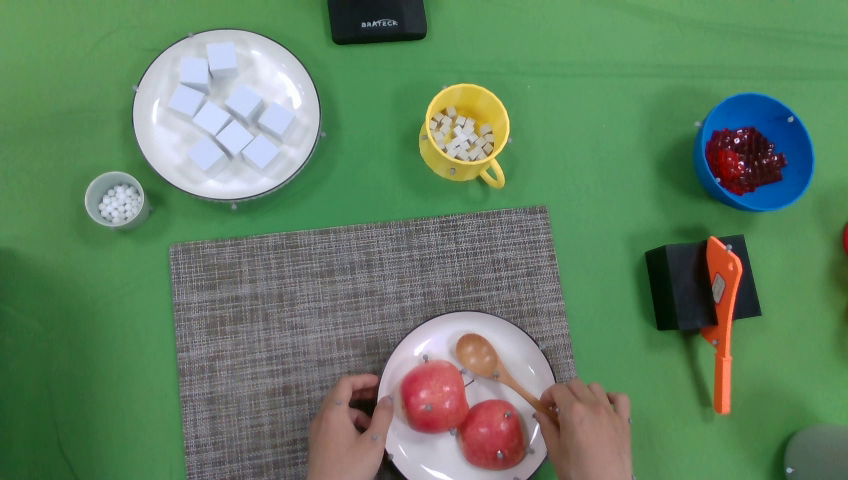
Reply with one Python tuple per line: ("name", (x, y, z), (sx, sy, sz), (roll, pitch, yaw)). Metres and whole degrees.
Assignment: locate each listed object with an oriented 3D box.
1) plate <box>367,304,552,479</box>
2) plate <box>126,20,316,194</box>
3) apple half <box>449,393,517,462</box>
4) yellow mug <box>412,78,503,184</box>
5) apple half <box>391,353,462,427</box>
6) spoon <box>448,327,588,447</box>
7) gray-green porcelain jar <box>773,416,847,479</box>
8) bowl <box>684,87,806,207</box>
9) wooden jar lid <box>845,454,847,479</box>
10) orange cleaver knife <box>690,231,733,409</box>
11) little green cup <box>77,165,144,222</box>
("plate", (0.039, 0.177, 0.686), (0.209, 0.038, 0.208), (1, 80, -8))
("plate", (-0.230, -0.151, 0.704), (0.208, 0.039, 0.207), (2, 80, -8))
("apple half", (0.068, 0.212, 0.677), (0.081, 0.033, 0.081), (2, 77, -7))
("yellow mug", (0.048, -0.122, 0.726), (0.100, 0.064, 0.130), (-36, 88, -13))
("apple half", (0.003, 0.166, 0.666), (0.075, 0.053, 0.080), (-9, 82, -7))
("spoon", (0.106, 0.168, 0.682), (0.193, 0.022, 0.041), (39, 75, 13))
("gray-green porcelain jar", (0.482, 0.260, 0.697), (0.106, 0.126, 0.105), (1, 80, -8))
("bowl", (0.389, -0.107, 0.769), (0.152, 0.077, 0.151), (1, 81, -8))
("wooden jar lid", (0.490, 0.248, 0.637), (0.108, 0.021, 0.108), (1, 83, -9))
("orange cleaver knife", (0.339, 0.096, 0.725), (0.012, 0.076, 0.212), (-5, 105, -5))
("little green cup", (-0.343, -0.048, 0.668), (0.062, 0.038, 0.061), (1, 82, -8))
